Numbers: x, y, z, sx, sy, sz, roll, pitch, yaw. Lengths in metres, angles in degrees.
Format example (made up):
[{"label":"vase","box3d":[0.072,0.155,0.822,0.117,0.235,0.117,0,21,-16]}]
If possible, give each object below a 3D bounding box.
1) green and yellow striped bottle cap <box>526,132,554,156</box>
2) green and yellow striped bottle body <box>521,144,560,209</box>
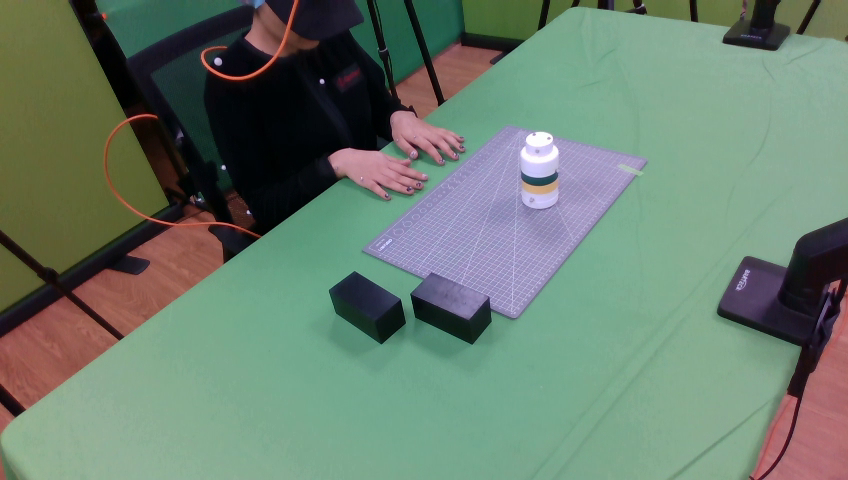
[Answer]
[{"label":"green and yellow striped bottle cap","box3d":[0.186,-0.154,0.968,0.045,0.020,0.045,-5,38,5]},{"label":"green and yellow striped bottle body","box3d":[0.193,-0.116,1.002,0.063,0.120,0.063,-5,40,5]}]
